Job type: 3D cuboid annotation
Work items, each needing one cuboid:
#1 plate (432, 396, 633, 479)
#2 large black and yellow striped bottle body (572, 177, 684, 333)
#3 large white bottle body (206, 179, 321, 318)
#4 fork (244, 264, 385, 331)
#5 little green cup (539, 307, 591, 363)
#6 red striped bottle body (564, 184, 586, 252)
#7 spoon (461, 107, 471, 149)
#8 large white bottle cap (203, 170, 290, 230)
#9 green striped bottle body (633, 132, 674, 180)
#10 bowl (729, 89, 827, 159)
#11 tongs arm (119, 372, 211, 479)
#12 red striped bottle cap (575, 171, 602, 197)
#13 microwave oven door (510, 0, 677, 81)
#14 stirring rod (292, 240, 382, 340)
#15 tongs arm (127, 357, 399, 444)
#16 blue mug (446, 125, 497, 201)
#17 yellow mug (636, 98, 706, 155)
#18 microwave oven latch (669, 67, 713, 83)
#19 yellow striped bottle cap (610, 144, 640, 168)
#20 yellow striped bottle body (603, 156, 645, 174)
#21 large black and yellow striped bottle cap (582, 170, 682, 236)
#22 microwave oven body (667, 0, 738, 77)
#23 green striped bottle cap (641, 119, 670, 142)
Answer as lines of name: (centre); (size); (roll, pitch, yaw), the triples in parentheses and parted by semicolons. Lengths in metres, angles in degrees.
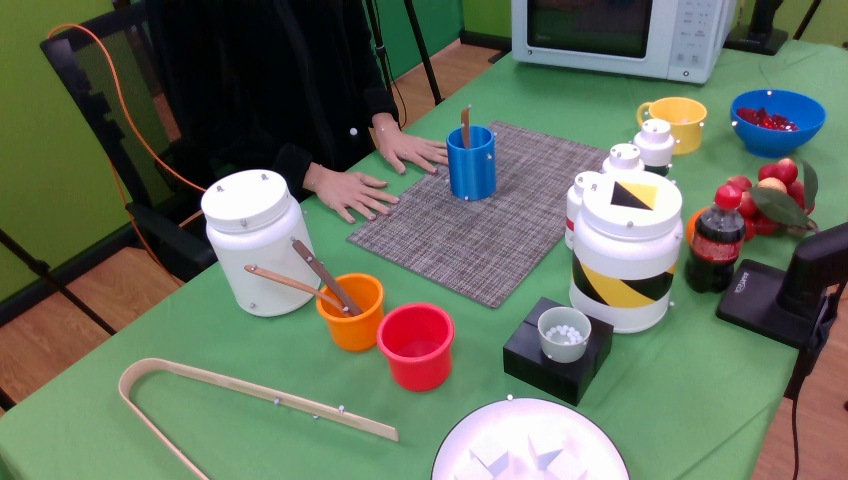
plate: (0.112, 0.261, 0.634); (0.209, 0.038, 0.208); (-5, 40, 4)
large black and yellow striped bottle body: (0.262, 0.017, 0.788); (0.131, 0.185, 0.130); (-5, 40, 4)
large white bottle body: (-0.233, 0.008, 0.876); (0.130, 0.185, 0.130); (-5, 40, 4)
fork: (-0.142, 0.078, 0.806); (0.209, 0.018, 0.028); (30, 33, -23)
little green cup: (0.167, 0.114, 0.721); (0.061, 0.039, 0.061); (-4, 43, 4)
red striped bottle body: (0.247, -0.041, 0.910); (0.063, 0.120, 0.062); (-3, 39, 3)
spoon: (0.073, -0.153, 0.987); (0.041, 0.195, 0.021); (-26, 59, -4)
large white bottle cap: (-0.241, -0.057, 0.822); (0.115, 0.018, 0.114); (-4, 41, 4)
green striped bottle body: (0.376, -0.135, 1.001); (0.063, 0.120, 0.063); (-5, 40, 5)
bowl: (0.615, -0.197, 1.069); (0.151, 0.077, 0.150); (-5, 40, 5)
tongs arm: (-0.257, 0.256, 0.700); (0.384, 0.028, 0.028); (24, 55, 33)
red striped bottle cap: (0.242, -0.081, 0.876); (0.044, 0.018, 0.044); (-4, 44, 5)
microwave oven door: (0.354, -0.478, 1.290); (0.353, 0.245, 0.039); (15, 45, 25)
stirring rod: (-0.118, 0.068, 0.826); (0.176, 0.006, 0.014); (49, 60, -4)
tongs arm: (-0.213, 0.205, 0.755); (0.382, 0.026, 0.051); (12, 45, 23)
blue mug: (0.081, -0.143, 1.064); (0.082, 0.106, 0.116); (-10, 40, -2)
yellow mug: (0.453, -0.217, 1.128); (0.100, 0.064, 0.129); (-34, 46, -27)
microwave oven latch: (0.556, -0.348, 1.262); (0.078, 0.029, 0.030); (15, 46, 26)
yellow striped bottle cap: (0.307, -0.128, 0.923); (0.044, 0.019, 0.044); (-5, 39, 5)
yellow striped bottle body: (0.313, -0.089, 0.956); (0.063, 0.121, 0.062); (-4, 40, 4)
large black and yellow striped bottle cap: (0.252, -0.048, 0.735); (0.115, 0.019, 0.114); (-3, 40, 3)
microwave oven body: (0.462, -0.552, 1.369); (0.439, 0.261, 0.326); (15, 45, 26)
green striped bottle cap: (0.371, -0.175, 0.968); (0.044, 0.020, 0.044); (-5, 42, 5)
